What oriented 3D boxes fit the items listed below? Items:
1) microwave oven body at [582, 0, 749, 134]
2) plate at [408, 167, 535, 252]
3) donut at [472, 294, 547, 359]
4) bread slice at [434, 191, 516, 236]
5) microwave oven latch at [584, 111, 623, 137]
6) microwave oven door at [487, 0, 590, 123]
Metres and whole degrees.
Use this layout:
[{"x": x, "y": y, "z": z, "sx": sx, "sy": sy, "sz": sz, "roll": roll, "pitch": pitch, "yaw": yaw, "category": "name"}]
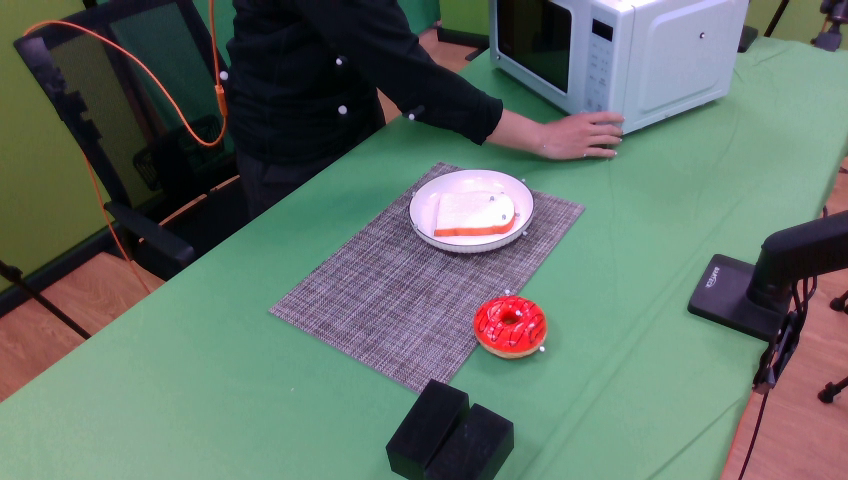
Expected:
[{"x": 0.382, "y": -0.445, "z": 1.246, "sx": 0.327, "sy": 0.261, "sz": 0.437, "roll": -22, "pitch": 42, "yaw": -16, "category": "microwave oven body"}, {"x": 0.078, "y": -0.047, "z": 0.997, "sx": 0.207, "sy": 0.039, "sz": 0.206, "roll": -4, "pitch": 41, "yaw": 4, "category": "plate"}, {"x": 0.114, "y": 0.114, "z": 0.803, "sx": 0.099, "sy": 0.048, "sz": 0.098, "roll": 0, "pitch": 40, "yaw": 1, "category": "donut"}, {"x": 0.086, "y": -0.046, "z": 0.996, "sx": 0.131, "sy": 0.019, "sz": 0.104, "roll": -1, "pitch": 42, "yaw": 7, "category": "bread slice"}, {"x": 0.337, "y": -0.222, "z": 1.142, "sx": 0.030, "sy": 0.029, "sz": 0.078, "roll": -21, "pitch": 42, "yaw": -14, "category": "microwave oven latch"}, {"x": 0.232, "y": -0.420, "z": 1.230, "sx": 0.039, "sy": 0.245, "sz": 0.352, "roll": -22, "pitch": 42, "yaw": -16, "category": "microwave oven door"}]
